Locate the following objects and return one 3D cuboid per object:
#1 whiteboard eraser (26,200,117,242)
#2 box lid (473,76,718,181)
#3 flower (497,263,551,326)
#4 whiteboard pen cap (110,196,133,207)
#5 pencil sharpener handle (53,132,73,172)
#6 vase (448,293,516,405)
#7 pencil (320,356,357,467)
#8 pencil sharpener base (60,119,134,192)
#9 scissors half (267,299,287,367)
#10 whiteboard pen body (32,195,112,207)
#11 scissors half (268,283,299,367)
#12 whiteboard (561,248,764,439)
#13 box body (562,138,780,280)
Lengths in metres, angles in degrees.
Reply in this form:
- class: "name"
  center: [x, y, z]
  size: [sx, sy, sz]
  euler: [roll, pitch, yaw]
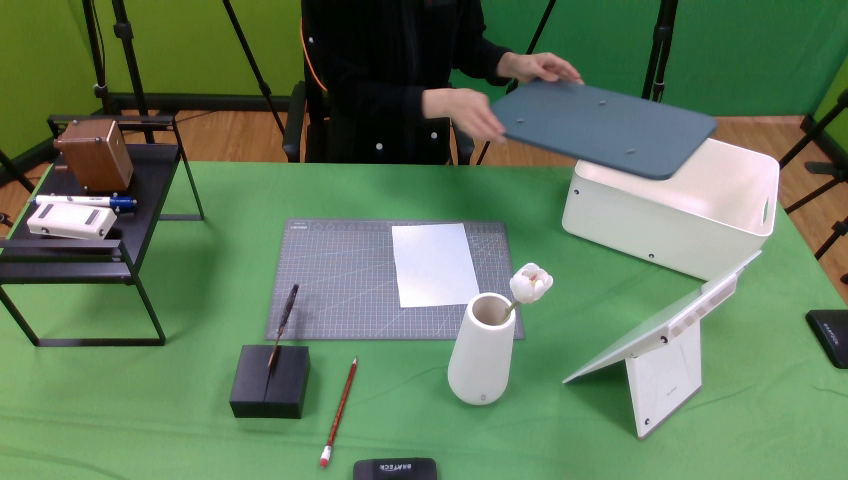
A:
- class: "whiteboard eraser"
  center: [-0.532, -0.026, 0.919]
  size: [0.113, 0.042, 0.055]
  euler: [7, 45, 3]
- class: "box lid"
  center: [0.302, -0.210, 1.076]
  size: [0.370, 0.015, 0.263]
  euler: [24, 44, 31]
- class: "flower"
  center: [0.103, 0.121, 0.853]
  size: [0.044, 0.363, 0.038]
  euler: [-1, 63, -9]
- class: "whiteboard pen cap"
  center: [-0.486, -0.061, 0.972]
  size: [0.033, 0.018, 0.018]
  euler: [0, 47, -9]
- class: "pencil sharpener handle"
  center: [-0.578, -0.138, 0.961]
  size: [0.031, 0.068, 0.036]
  euler: [-4, 34, -7]
- class: "vase"
  center: [0.091, 0.169, 0.921]
  size: [0.098, 0.201, 0.097]
  euler: [3, 47, -3]
- class: "pencil"
  center: [-0.130, 0.261, 0.946]
  size: [0.012, 0.012, 0.193]
  euler: [10, 45, 5]
- class: "pencil sharpener base"
  center: [-0.528, -0.135, 0.979]
  size: [0.077, 0.107, 0.061]
  euler: [-4, 47, -7]
- class: "scissors half"
  center: [-0.239, 0.150, 0.997]
  size: [0.013, 0.040, 0.174]
  euler: [24, 24, -13]
- class: "whiteboard pen body"
  center: [-0.543, -0.061, 0.961]
  size: [0.141, 0.017, 0.017]
  euler: [1, 46, -10]
- class: "scissors half"
  center: [-0.230, 0.135, 0.986]
  size: [0.013, 0.040, 0.174]
  euler: [19, 43, -11]
- class: "whiteboard"
  center: [0.386, 0.176, 0.905]
  size: [0.217, 0.306, 0.143]
  euler: [-26, 72, -27]
- class: "box body"
  center: [0.486, -0.088, 1.222]
  size: [0.363, 0.161, 0.253]
  euler: [20, 48, 15]
